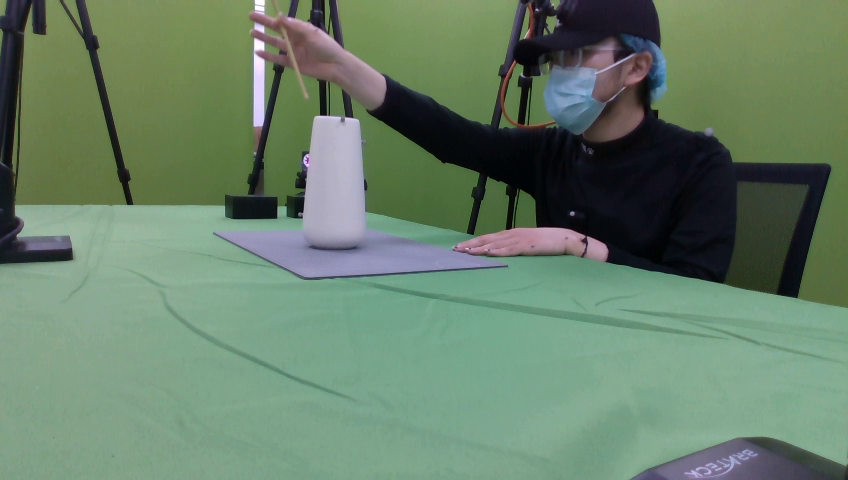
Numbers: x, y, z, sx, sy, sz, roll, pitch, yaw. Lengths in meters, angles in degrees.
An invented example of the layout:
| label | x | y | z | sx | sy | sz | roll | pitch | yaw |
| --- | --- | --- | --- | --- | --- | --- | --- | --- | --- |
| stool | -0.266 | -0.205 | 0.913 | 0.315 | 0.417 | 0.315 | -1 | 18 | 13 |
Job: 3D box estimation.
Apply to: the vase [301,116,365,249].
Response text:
| label | x | y | z | sx | sy | sz | roll | pitch | yaw |
| --- | --- | --- | --- | --- | --- | --- | --- | --- | --- |
| vase | -0.139 | -0.088 | 0.931 | 0.098 | 0.200 | 0.098 | 2 | 9 | 0 |

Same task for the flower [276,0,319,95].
| label | x | y | z | sx | sy | sz | roll | pitch | yaw |
| --- | --- | --- | --- | --- | --- | --- | --- | --- | --- |
| flower | -0.249 | -0.411 | 0.994 | 0.044 | 0.362 | 0.038 | -25 | 10 | -11 |
